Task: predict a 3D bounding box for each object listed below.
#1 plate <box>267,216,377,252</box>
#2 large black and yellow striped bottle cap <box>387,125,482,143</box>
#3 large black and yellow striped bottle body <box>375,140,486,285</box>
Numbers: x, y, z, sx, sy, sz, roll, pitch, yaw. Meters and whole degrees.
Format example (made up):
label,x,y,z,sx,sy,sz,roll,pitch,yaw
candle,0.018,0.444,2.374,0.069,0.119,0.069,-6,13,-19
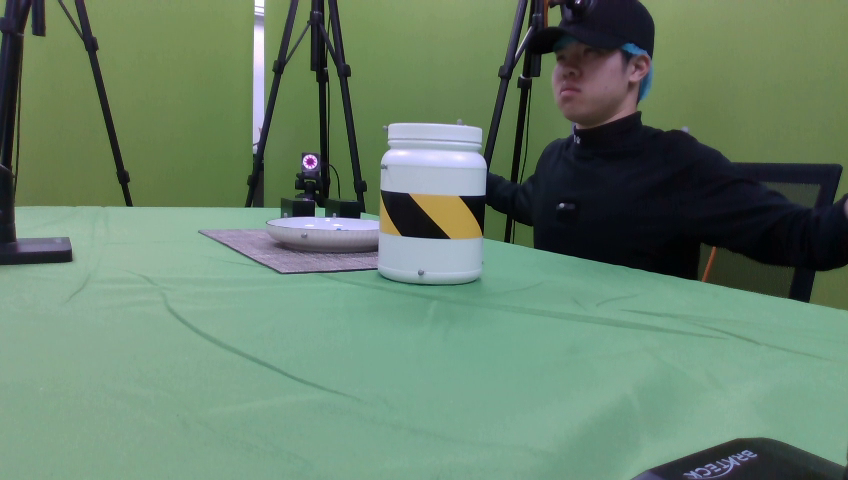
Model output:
label,x,y,z,sx,sy,sz,roll,pitch,yaw
plate,-0.145,-0.010,0.967,0.208,0.039,0.207,2,7,0
large black and yellow striped bottle cap,0.012,-0.127,0.731,0.115,0.019,0.115,1,6,0
large black and yellow striped bottle body,0.008,-0.044,0.744,0.131,0.184,0.130,3,7,0
